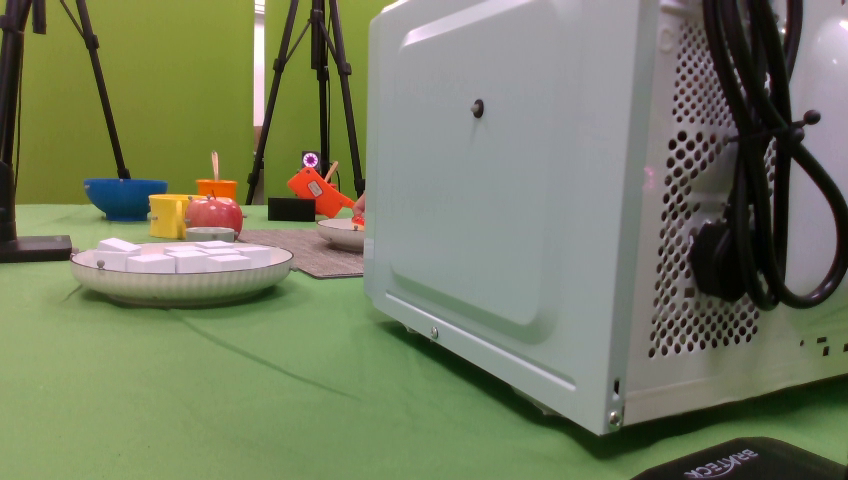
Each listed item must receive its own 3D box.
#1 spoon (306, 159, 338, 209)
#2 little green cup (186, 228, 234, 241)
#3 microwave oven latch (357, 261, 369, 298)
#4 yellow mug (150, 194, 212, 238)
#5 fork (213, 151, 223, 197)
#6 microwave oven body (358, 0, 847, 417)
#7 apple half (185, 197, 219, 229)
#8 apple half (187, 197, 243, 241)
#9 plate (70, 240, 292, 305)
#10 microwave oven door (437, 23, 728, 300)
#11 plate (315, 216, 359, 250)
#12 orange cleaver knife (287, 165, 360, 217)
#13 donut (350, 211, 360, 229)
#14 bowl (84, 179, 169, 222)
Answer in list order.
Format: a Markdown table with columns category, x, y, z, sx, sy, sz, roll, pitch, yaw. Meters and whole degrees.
| category | x | y | z | sx | sy | sz | roll | pitch | yaw |
| --- | --- | --- | --- | --- | --- | --- | --- | --- | --- |
| spoon | -0.257 | -0.147 | 1.566 | 0.041 | 0.022 | 0.193 | 2 | 51 | 19 |
| little green cup | -0.284 | 0.005 | 0.805 | 0.061 | 0.038 | 0.061 | 2 | 8 | 0 |
| microwave oven latch | -0.019 | 0.033 | 0.529 | 0.079 | 0.029 | 0.030 | 0 | 7 | -26 |
| yellow mug | -0.401 | -0.039 | 1.002 | 0.100 | 0.064 | 0.130 | 0 | 9 | -20 |
| fork | -0.493 | -0.143 | 1.441 | 0.028 | 0.018 | 0.206 | -2 | 52 | -21 |
| microwave oven body | 0.211 | -0.047 | 0.474 | 0.444 | 0.260 | 0.324 | -1 | 7 | -28 |
| apple half | -0.338 | -0.031 | 0.926 | 0.032 | 0.081 | 0.081 | 13 | 12 | 32 |
| apple half | -0.305 | -0.026 | 0.907 | 0.053 | 0.074 | 0.081 | 12 | 8 | 31 |
| plate | -0.241 | 0.031 | 0.617 | 0.208 | 0.039 | 0.207 | 2 | 7 | 0 |
| microwave oven door | 0.181 | -0.072 | 0.621 | 0.358 | 0.243 | 0.039 | -2 | 8 | -29 |
| plate | -0.068 | -0.010 | 0.962 | 0.209 | 0.038 | 0.209 | 3 | 8 | 0 |
| orange cleaver knife | -0.210 | -0.092 | 1.382 | 0.212 | 0.077 | 0.012 | 34 | 1 | -15 |
| donut | -0.069 | -0.022 | 0.963 | 0.099 | 0.048 | 0.099 | 5 | 7 | 0 |
| bowl | -0.584 | -0.078 | 1.193 | 0.151 | 0.077 | 0.151 | 3 | 8 | 0 |
